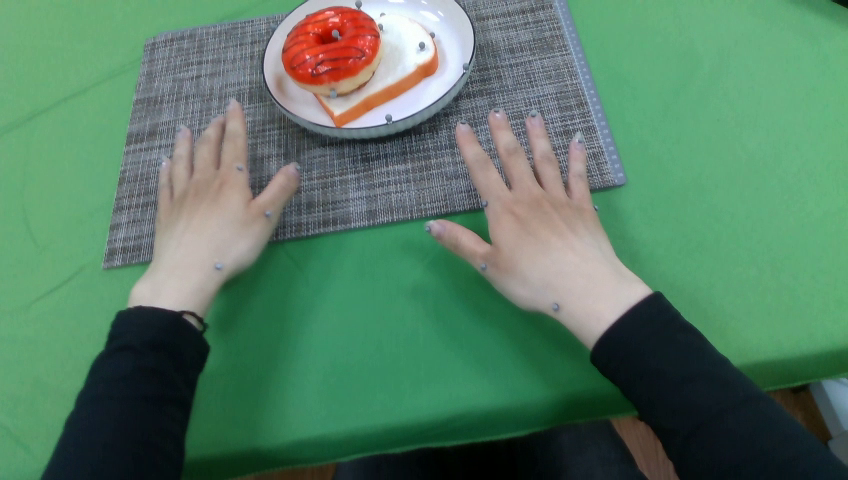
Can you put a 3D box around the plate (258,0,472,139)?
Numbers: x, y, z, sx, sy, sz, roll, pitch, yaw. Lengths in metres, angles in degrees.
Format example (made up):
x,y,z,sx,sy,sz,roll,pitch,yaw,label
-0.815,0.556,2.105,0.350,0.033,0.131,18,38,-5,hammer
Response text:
x,y,z,sx,sy,sz,roll,pitch,yaw,label
-0.056,-0.176,0.598,0.207,0.039,0.205,-3,59,5,plate

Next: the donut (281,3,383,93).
x,y,z,sx,sy,sz,roll,pitch,yaw,label
-0.087,-0.182,0.572,0.099,0.049,0.098,-4,60,8,donut

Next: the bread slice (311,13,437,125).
x,y,z,sx,sy,sz,roll,pitch,yaw,label
-0.056,-0.179,0.602,0.131,0.019,0.104,-31,61,-10,bread slice
